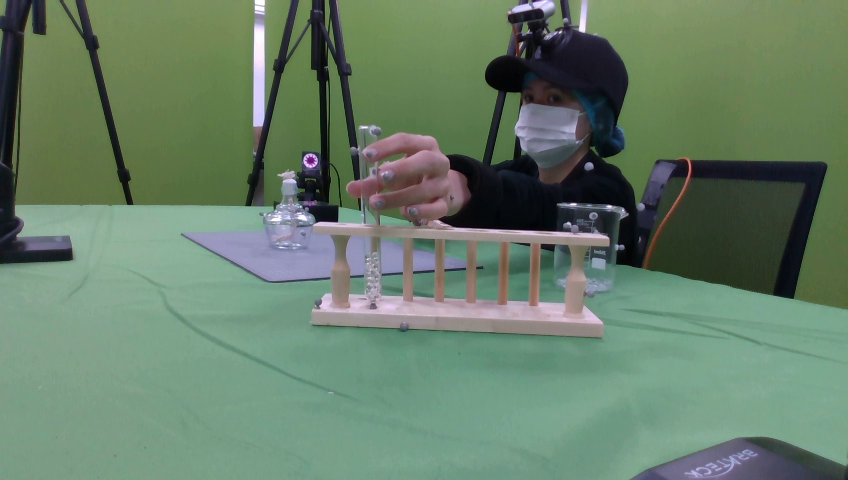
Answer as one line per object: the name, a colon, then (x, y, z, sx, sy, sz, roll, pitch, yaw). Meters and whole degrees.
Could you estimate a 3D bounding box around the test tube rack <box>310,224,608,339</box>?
test tube rack: (0.028, 0.032, 0.528, 0.242, 0.085, 0.067, 3, 7, 0)

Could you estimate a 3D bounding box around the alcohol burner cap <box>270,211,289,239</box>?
alcohol burner cap: (-0.246, -0.026, 1.035, 0.034, 0.048, 0.034, 2, 8, 0)

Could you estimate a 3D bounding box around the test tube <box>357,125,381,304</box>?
test tube: (-0.045, -0.019, 0.501, 0.017, 0.150, 0.017, -1, 12, 0)

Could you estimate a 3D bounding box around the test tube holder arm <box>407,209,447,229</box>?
test tube holder arm: (0.003, -0.032, 1.006, 0.013, 0.015, 0.177, 11, 8, -22)

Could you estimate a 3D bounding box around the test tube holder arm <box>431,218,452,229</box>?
test tube holder arm: (0.024, -0.022, 0.967, 0.010, 0.015, 0.087, 11, 8, -23)

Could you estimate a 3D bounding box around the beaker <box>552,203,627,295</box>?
beaker: (0.191, 0.010, 0.708, 0.083, 0.100, 0.074, 8, 9, 32)

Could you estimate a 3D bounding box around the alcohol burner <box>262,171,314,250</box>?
alcohol burner: (-0.205, -0.045, 0.913, 0.078, 0.119, 0.078, 1, 9, 0)
